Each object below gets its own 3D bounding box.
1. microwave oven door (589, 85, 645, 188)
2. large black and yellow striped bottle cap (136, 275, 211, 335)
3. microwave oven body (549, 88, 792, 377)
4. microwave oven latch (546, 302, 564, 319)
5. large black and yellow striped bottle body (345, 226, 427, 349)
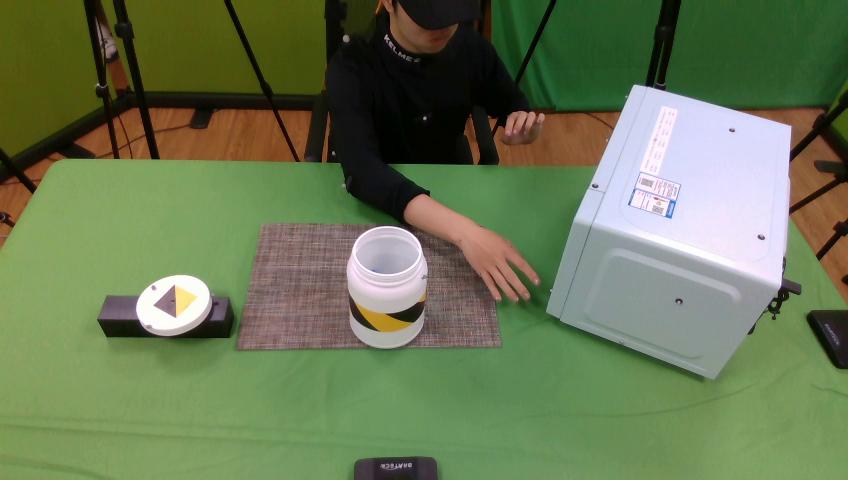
[{"bbox_3d":[0.341,-0.107,1.149,0.039,0.245,0.354,20,48,15],"label":"microwave oven door"},{"bbox_3d":[-0.412,0.105,0.998,0.115,0.019,0.114,3,46,-3],"label":"large black and yellow striped bottle cap"},{"bbox_3d":[0.456,-0.028,1.088,0.325,0.261,0.440,20,47,16],"label":"microwave oven body"},{"bbox_3d":[0.242,0.102,1.081,0.030,0.029,0.079,21,48,17],"label":"microwave oven latch"},{"bbox_3d":[-0.062,0.078,0.998,0.131,0.185,0.130,2,46,-2],"label":"large black and yellow striped bottle body"}]
